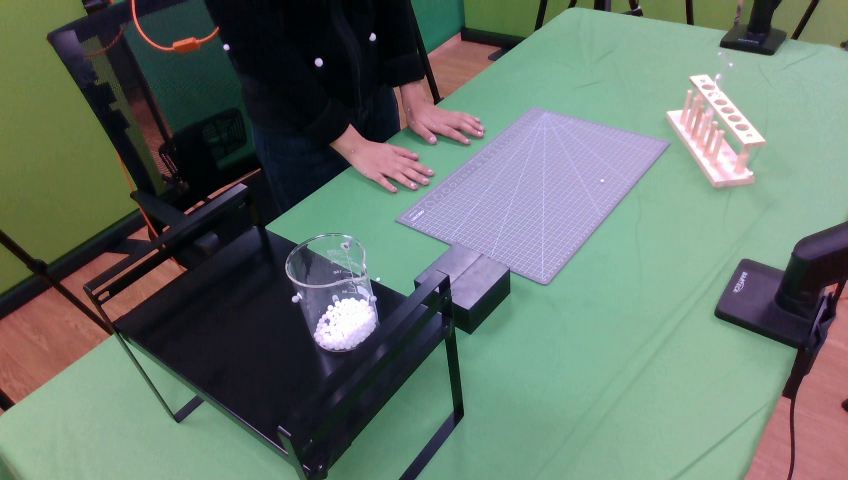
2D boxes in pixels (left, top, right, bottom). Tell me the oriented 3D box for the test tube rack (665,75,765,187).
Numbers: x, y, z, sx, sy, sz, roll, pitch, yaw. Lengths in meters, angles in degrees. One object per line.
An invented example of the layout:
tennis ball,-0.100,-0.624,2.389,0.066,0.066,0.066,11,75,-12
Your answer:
test tube rack,0.512,-0.201,1.082,0.067,0.085,0.241,-5,41,2

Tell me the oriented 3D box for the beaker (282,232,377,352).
beaker,-0.084,0.054,0.587,0.083,0.101,0.074,17,47,25

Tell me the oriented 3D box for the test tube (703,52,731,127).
test tube,0.521,-0.264,1.078,0.017,0.151,0.017,-4,47,5
